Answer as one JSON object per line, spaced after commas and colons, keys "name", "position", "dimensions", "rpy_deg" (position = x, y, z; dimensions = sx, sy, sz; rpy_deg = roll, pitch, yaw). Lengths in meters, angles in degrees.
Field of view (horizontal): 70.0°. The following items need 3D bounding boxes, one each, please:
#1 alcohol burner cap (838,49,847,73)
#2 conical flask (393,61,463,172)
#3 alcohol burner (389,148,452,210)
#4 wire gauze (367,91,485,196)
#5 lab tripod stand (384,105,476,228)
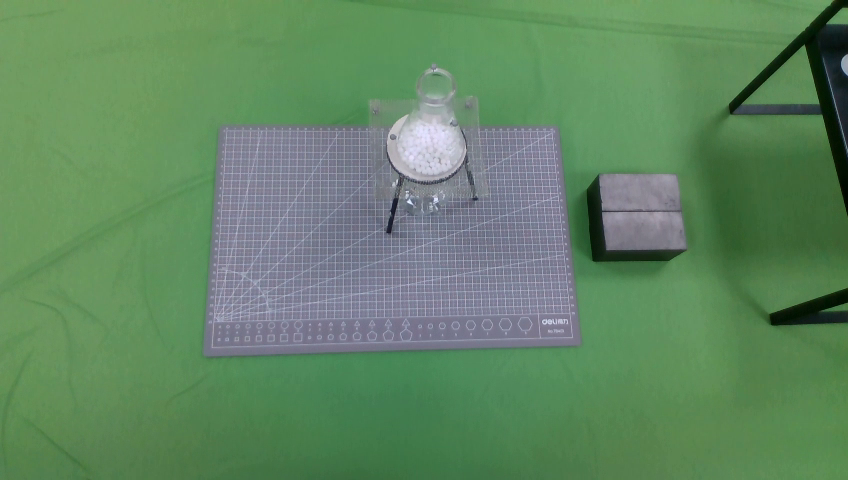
{"name": "alcohol burner cap", "position": [0.476, -0.203, 0.649], "dimensions": [0.034, 0.048, 0.033], "rpy_deg": [1, 74, -4]}
{"name": "conical flask", "position": [0.007, -0.124, 0.599], "dimensions": [0.075, 0.122, 0.075], "rpy_deg": [1, 71, -3]}
{"name": "alcohol burner", "position": [-0.004, -0.080, 0.726], "dimensions": [0.078, 0.119, 0.077], "rpy_deg": [0, 74, -1]}
{"name": "wire gauze", "position": [0.002, -0.106, 0.655], "dimensions": [0.125, 0.011, 0.121], "rpy_deg": [-1, 75, -7]}
{"name": "lab tripod stand", "position": [-0.005, -0.092, 0.719], "dimensions": [0.148, 0.132, 0.147], "rpy_deg": [1, 73, -2]}
